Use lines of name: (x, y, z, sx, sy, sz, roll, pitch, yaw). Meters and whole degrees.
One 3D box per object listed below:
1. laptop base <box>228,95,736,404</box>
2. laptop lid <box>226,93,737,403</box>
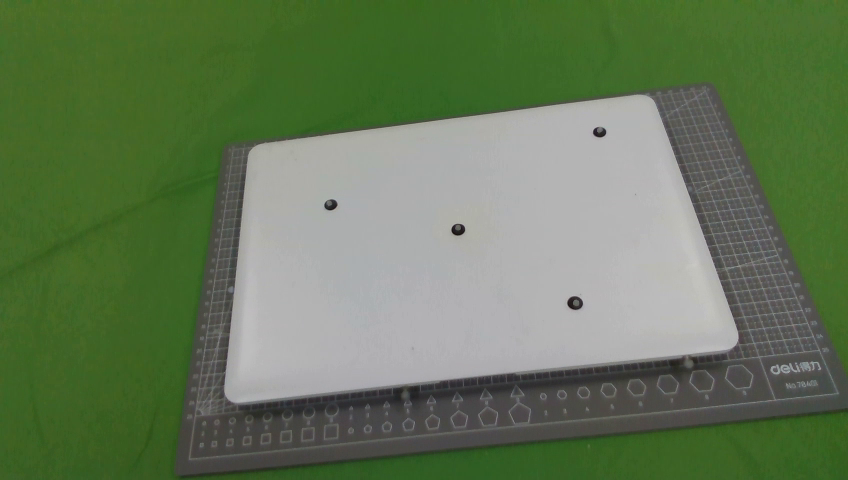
laptop base: (0.029, -0.002, 0.476, 0.354, 0.023, 0.233, -7, 61, 3)
laptop lid: (0.028, -0.006, 0.465, 0.356, 0.013, 0.239, -5, 60, 4)
